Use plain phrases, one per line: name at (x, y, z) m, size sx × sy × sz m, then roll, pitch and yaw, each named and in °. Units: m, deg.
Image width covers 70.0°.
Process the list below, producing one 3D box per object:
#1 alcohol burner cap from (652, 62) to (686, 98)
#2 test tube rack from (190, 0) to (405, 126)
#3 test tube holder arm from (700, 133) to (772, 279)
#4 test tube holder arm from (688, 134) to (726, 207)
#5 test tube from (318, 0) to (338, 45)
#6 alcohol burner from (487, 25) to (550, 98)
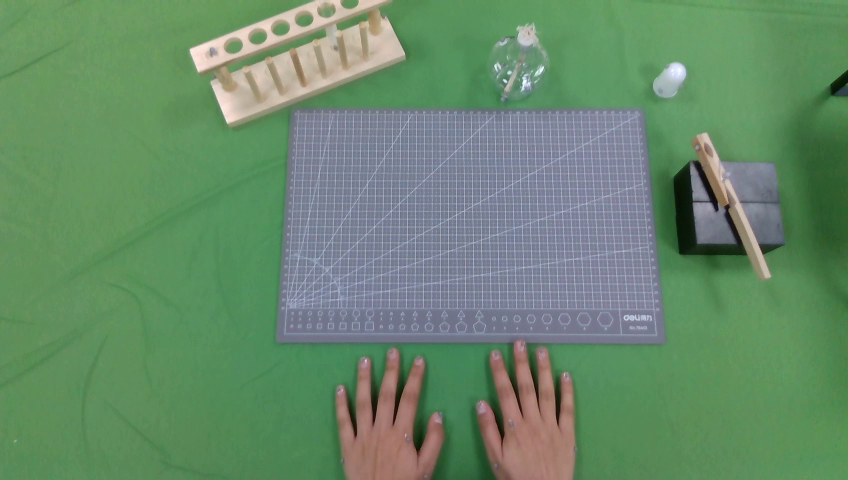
alcohol burner cap at (0.311, -0.204, 0.764) m, size 0.034 × 0.048 × 0.033 m, roll 0°, pitch 75°, yaw 1°
test tube rack at (-0.148, -0.231, 0.747) m, size 0.242 × 0.085 × 0.066 m, roll -23°, pitch 76°, yaw -6°
test tube holder arm at (0.348, -0.040, 0.685) m, size 0.013 × 0.015 × 0.177 m, roll -20°, pitch 77°, yaw -7°
test tube holder arm at (0.327, -0.080, 0.694) m, size 0.010 × 0.015 × 0.087 m, roll -18°, pitch 77°, yaw -6°
test tube at (-0.116, -0.280, 0.709) m, size 0.017 × 0.151 × 0.017 m, roll 0°, pitch 69°, yaw 1°
alcohol burner at (0.117, -0.223, 0.732) m, size 0.078 × 0.119 × 0.077 m, roll 0°, pitch 76°, yaw 0°
